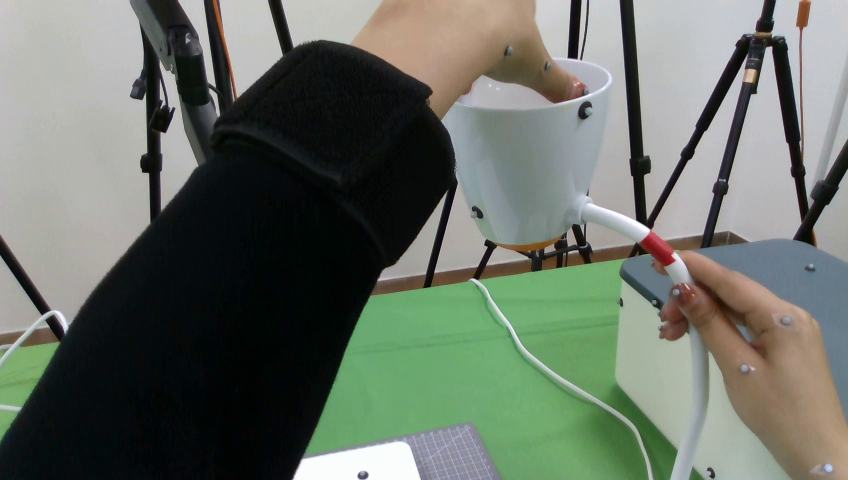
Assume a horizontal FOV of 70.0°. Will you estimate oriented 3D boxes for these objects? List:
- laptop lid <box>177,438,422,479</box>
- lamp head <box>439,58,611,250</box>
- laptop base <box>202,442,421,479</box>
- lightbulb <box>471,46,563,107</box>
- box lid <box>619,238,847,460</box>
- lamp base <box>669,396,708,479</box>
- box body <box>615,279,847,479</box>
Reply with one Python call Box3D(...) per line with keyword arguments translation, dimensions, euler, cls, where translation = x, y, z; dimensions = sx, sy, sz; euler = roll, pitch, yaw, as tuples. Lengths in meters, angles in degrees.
Box3D(translation=(-0.158, 0.273, 0.486), dimensions=(0.357, 0.013, 0.239), euler=(-6, 27, -12), cls="laptop lid")
Box3D(translation=(0.073, -0.055, 0.418), dimensions=(0.112, 0.124, 0.111), euler=(-9, 27, 5), cls="lamp head")
Box3D(translation=(-0.158, 0.283, 0.493), dimensions=(0.355, 0.023, 0.233), euler=(-6, 28, -13), cls="laptop base")
Box3D(translation=(0.063, -0.075, 0.406), dimensions=(0.059, 0.109, 0.059), euler=(-6, 38, 5), cls="lightbulb")
Box3D(translation=(0.386, 0.085, 0.569), dimensions=(0.264, 0.015, 0.367), euler=(-7, 25, -15), cls="box lid")
Box3D(translation=(0.173, 0.215, 0.441), dimensions=(0.160, 0.181, 0.179), euler=(10, 24, 20), cls="lamp base")
Box3D(translation=(0.387, 0.154, 0.599), dimensions=(0.255, 0.161, 0.360), euler=(-7, 25, -15), cls="box body")
